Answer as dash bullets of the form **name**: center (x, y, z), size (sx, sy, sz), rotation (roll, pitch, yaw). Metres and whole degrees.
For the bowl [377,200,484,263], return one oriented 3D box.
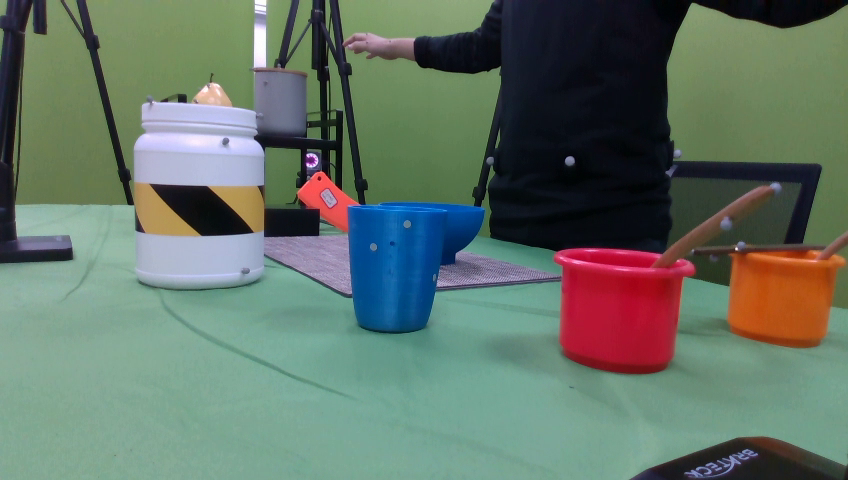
- **bowl**: center (0.008, -0.012, 0.842), size (0.151, 0.077, 0.151), rotation (2, 7, 0)

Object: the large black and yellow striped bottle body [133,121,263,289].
- **large black and yellow striped bottle body**: center (-0.243, -0.048, 0.659), size (0.131, 0.184, 0.130), rotation (2, 7, 0)

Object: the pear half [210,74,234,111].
- **pear half**: center (-0.401, -0.262, 1.162), size (0.076, 0.109, 0.056), rotation (7, 7, 2)

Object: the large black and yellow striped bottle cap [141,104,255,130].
- **large black and yellow striped bottle cap**: center (-0.241, -0.131, 0.650), size (0.115, 0.019, 0.115), rotation (3, 8, 0)

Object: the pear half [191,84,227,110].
- **pear half**: center (-0.405, -0.248, 1.128), size (0.070, 0.088, 0.031), rotation (6, 6, 2)

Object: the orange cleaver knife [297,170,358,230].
- **orange cleaver knife**: center (-0.149, -0.058, 1.170), size (0.212, 0.077, 0.012), rotation (33, -15, -32)

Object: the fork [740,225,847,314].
- **fork**: center (0.323, 0.013, 0.485), size (0.028, 0.018, 0.207), rotation (8, -38, -5)

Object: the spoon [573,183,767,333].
- **spoon**: center (0.158, 0.020, 0.412), size (0.042, 0.021, 0.193), rotation (-2, -35, -21)

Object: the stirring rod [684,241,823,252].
- **stirring rod**: center (0.290, 0.005, 0.525), size (0.177, 0.006, 0.014), rotation (-1, 5, -26)

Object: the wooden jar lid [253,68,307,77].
- **wooden jar lid**: center (-0.296, -0.339, 1.249), size (0.108, 0.020, 0.108), rotation (3, 10, 0)

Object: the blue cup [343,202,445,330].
- **blue cup**: center (-0.027, 0.021, 0.510), size (0.093, 0.100, 0.092), rotation (3, 5, 0)

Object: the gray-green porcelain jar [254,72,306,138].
- **gray-green porcelain jar**: center (-0.299, -0.277, 1.257), size (0.106, 0.126, 0.106), rotation (2, 8, 0)
